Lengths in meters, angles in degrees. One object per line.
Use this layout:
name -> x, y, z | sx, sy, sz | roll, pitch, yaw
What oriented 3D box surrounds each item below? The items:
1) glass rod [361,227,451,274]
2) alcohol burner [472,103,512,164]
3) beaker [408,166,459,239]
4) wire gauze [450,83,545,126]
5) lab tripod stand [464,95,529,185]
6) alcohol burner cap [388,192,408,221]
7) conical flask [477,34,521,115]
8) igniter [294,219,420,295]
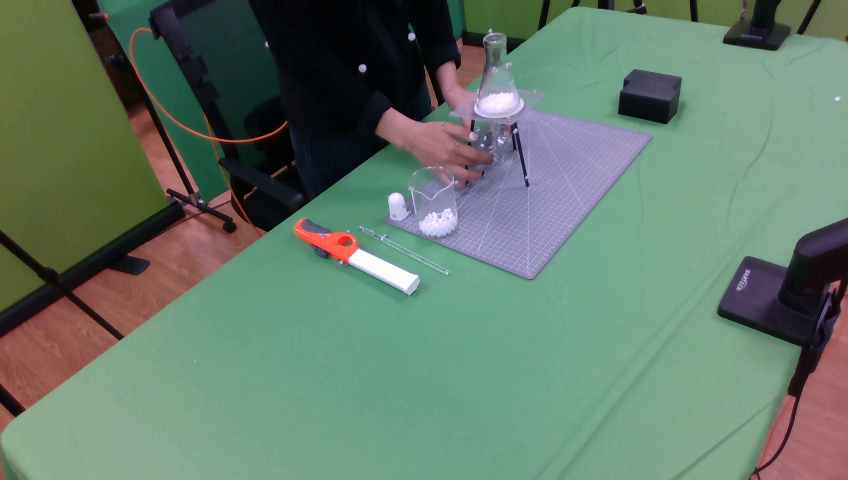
glass rod -> -0.033, 0.014, 0.985 | 0.198, 0.008, 0.008 | 26, 52, 34
alcohol burner -> 0.125, -0.201, 1.122 | 0.078, 0.119, 0.077 | -4, 42, 4
beaker -> 0.018, -0.058, 0.984 | 0.074, 0.101, 0.083 | -6, 41, 6
wire gauze -> 0.127, -0.232, 1.041 | 0.120, 0.011, 0.125 | 17, 48, 31
lab tripod stand -> 0.138, -0.182, 1.082 | 0.148, 0.132, 0.147 | -6, 38, 5
alcohol burner cap -> -0.047, -0.059, 1.043 | 0.034, 0.048, 0.033 | -5, 41, 5
conical flask -> 0.121, -0.275, 0.999 | 0.075, 0.122, 0.075 | -5, 40, 5
igniter -> -0.118, 0.022, 0.977 | 0.274, 0.025, 0.057 | 24, 60, 34
